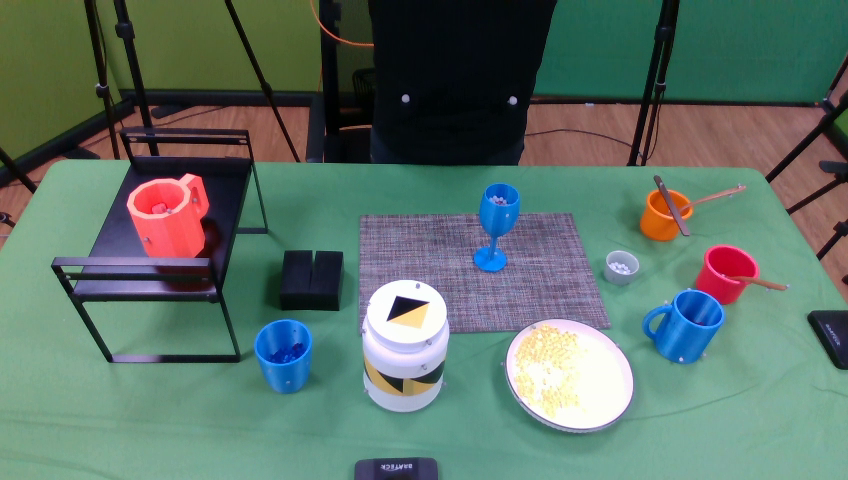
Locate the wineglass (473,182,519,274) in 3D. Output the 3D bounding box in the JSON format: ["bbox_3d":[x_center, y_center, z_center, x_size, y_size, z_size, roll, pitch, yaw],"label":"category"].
[{"bbox_3d":[0.131,-0.022,1.117,0.074,0.173,0.073,2,46,-2],"label":"wineglass"}]

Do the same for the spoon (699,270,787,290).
[{"bbox_3d":[0.567,0.071,1.087,0.042,0.193,0.021,-12,93,-13],"label":"spoon"}]

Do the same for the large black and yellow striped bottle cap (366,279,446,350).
[{"bbox_3d":[-0.025,0.104,0.864,0.115,0.019,0.114,3,48,-3],"label":"large black and yellow striped bottle cap"}]

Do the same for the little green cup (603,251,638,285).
[{"bbox_3d":[0.375,0.055,1.161,0.061,0.039,0.061,3,45,-3],"label":"little green cup"}]

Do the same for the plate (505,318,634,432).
[{"bbox_3d":[0.235,0.221,0.991,0.209,0.038,0.208,2,45,-2],"label":"plate"}]

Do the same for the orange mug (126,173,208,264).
[{"bbox_3d":[-0.371,-0.040,0.902,0.083,0.101,0.126,18,52,13],"label":"orange mug"}]

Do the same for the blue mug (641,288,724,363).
[{"bbox_3d":[0.432,0.144,1.033,0.116,0.106,0.082,9,46,4],"label":"blue mug"}]

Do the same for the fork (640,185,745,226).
[{"bbox_3d":[0.534,-0.069,1.215,0.207,0.019,0.028,-26,27,33],"label":"fork"}]

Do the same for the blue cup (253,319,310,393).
[{"bbox_3d":[-0.217,0.187,0.943,0.093,0.101,0.092,4,45,-3],"label":"blue cup"}]

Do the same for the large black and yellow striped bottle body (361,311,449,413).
[{"bbox_3d":[-0.031,0.163,0.924,0.131,0.185,0.130,2,46,-2],"label":"large black and yellow striped bottle body"}]

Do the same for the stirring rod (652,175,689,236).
[{"bbox_3d":[0.491,-0.072,1.211,0.014,0.006,0.175,-1,46,-6],"label":"stirring rod"}]
